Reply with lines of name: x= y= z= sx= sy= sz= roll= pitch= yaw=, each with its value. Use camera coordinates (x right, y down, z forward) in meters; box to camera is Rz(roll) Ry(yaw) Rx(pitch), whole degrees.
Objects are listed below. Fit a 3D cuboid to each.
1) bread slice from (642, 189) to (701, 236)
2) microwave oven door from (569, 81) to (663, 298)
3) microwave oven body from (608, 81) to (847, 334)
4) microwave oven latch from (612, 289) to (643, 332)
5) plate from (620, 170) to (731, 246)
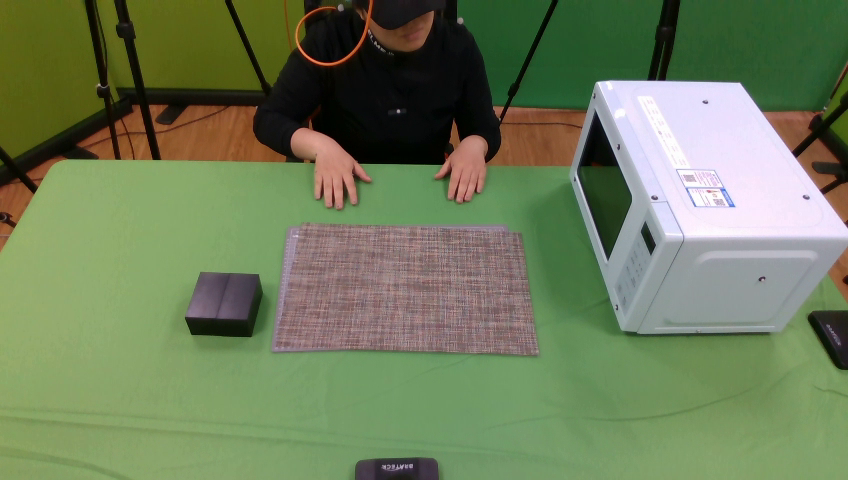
bread slice: x=0.494 y=-0.056 z=1.197 sx=0.105 sy=0.019 sz=0.131 roll=6 pitch=42 yaw=4
microwave oven door: x=0.353 y=-0.104 z=1.147 sx=0.039 sy=0.245 sz=0.353 roll=0 pitch=46 yaw=-4
microwave oven body: x=0.501 y=-0.070 z=1.132 sx=0.326 sy=0.261 sz=0.438 roll=-1 pitch=45 yaw=-4
microwave oven latch: x=0.357 y=0.124 z=1.068 sx=0.030 sy=0.029 sz=0.078 roll=0 pitch=45 yaw=-3
plate: x=0.490 y=-0.059 z=1.194 sx=0.209 sy=0.038 sz=0.208 roll=3 pitch=45 yaw=-3
